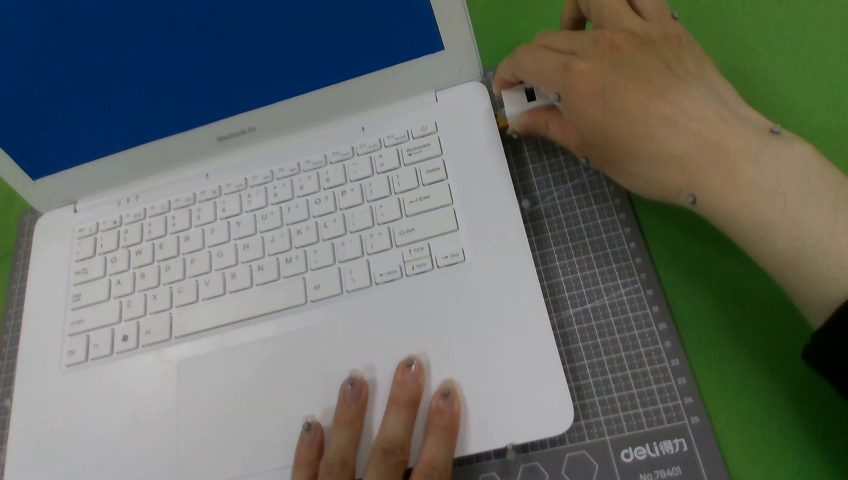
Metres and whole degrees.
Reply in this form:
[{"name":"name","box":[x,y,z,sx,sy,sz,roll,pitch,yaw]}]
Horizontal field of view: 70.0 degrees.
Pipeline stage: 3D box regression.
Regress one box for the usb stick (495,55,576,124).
[{"name":"usb stick","box":[0.065,-0.092,0.384,0.059,0.027,0.021,-20,60,14]}]

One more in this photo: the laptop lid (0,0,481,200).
[{"name":"laptop lid","box":[-0.160,-0.147,0.356,0.356,0.244,0.013,-16,46,10]}]

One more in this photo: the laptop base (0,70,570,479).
[{"name":"laptop base","box":[-0.108,0.033,0.390,0.354,0.023,0.233,-15,67,9]}]
